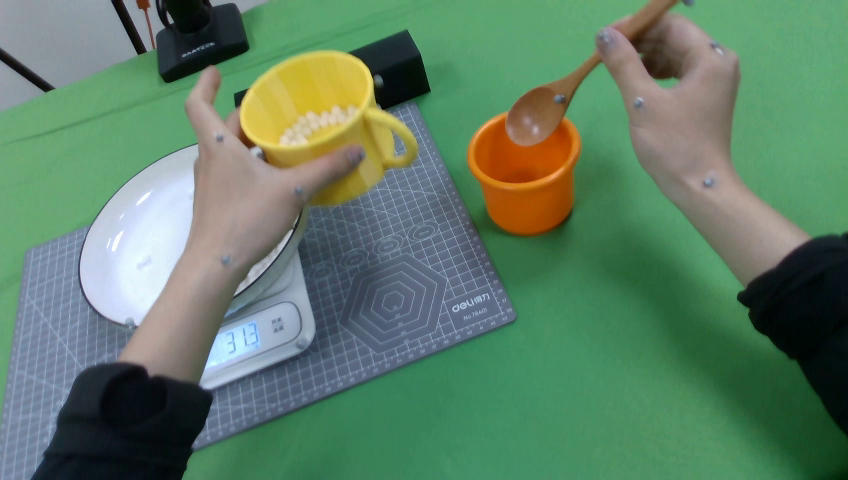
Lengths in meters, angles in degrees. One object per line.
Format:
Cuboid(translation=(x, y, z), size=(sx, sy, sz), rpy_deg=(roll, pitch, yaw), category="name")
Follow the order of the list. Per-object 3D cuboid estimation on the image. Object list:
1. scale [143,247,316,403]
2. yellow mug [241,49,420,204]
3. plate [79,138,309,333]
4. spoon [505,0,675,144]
Cuboid(translation=(-0.184, 0.035, 0.549), size=(0.149, 0.032, 0.198), rpy_deg=(-22, 52, 0), category="scale")
Cuboid(translation=(-0.063, -0.084, 0.452), size=(0.130, 0.064, 0.099), rpy_deg=(11, 60, 21), category="yellow mug")
Cuboid(translation=(-0.199, -0.006, 0.542), size=(0.209, 0.038, 0.207), rpy_deg=(-7, 53, 9), category="plate")
Cuboid(translation=(0.121, -0.127, 0.425), size=(0.022, 0.194, 0.041), rpy_deg=(-20, 78, -36), category="spoon")
